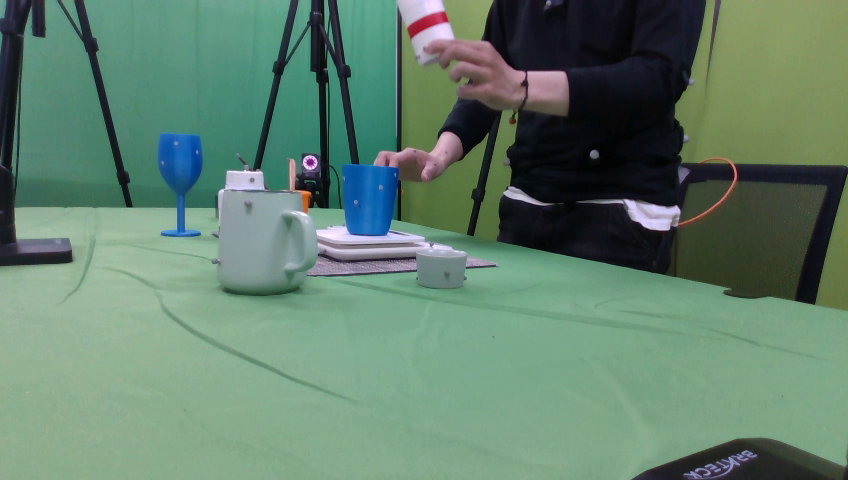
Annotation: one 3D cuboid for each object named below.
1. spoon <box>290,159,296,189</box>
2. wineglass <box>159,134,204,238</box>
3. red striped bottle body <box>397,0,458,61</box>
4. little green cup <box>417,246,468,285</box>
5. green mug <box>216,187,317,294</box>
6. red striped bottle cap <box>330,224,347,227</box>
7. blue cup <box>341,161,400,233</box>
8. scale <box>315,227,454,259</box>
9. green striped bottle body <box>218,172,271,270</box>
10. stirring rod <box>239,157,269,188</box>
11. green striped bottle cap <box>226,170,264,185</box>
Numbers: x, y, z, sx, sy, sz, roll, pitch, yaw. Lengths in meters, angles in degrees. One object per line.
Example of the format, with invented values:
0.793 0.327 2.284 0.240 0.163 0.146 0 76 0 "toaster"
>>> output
-0.273 -0.102 1.252 0.042 0.193 0.021 8 -39 -17 "spoon"
-0.415 -0.093 1.040 0.074 0.172 0.073 2 7 0 "wineglass"
0.001 -0.329 0.880 0.063 0.119 0.063 -21 7 3 "red striped bottle body"
0.021 0.029 0.702 0.061 0.038 0.061 0 6 0 "little green cup"
-0.157 0.000 0.629 0.124 0.105 0.093 7 9 37 "green mug"
-0.151 -0.018 1.092 0.044 0.017 0.044 -10 -3 0 "red striped bottle cap"
-0.080 -0.062 0.883 0.093 0.100 0.092 3 4 0 "blue cup"
-0.067 0.001 0.906 0.202 0.031 0.148 -2 8 -31 "scale"
-0.223 -0.025 0.755 0.063 0.119 0.063 2 7 0 "green striped bottle body"
-0.309 -0.098 1.209 0.006 0.177 0.014 -39 29 -4 "stirring rod"
-0.222 -0.076 0.748 0.044 0.020 0.044 0 7 0 "green striped bottle cap"
